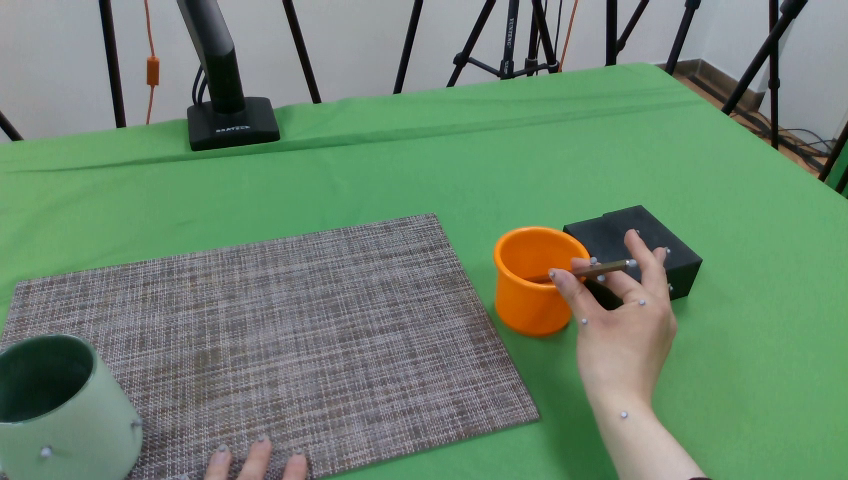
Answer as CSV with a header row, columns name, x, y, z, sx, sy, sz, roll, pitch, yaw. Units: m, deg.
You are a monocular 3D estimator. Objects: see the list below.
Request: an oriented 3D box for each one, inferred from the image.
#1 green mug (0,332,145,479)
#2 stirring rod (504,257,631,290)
name,x,y,z,sx,sy,sz,roll,pitch,yaw
green mug,-0.277,0.135,0.435,0.125,0.106,0.091,-18,44,-22
stirring rod,0.123,0.033,0.552,0.014,0.176,0.006,-35,95,-26
